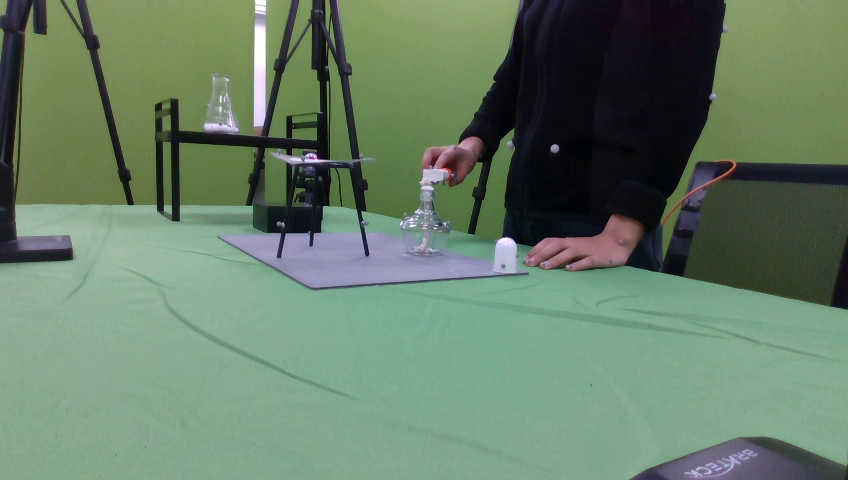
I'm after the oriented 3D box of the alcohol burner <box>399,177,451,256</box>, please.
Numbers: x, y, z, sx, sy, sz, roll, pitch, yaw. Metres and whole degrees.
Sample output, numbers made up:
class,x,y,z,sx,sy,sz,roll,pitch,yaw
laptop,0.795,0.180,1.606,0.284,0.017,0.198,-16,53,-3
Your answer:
class,x,y,z,sx,sy,sz,roll,pitch,yaw
alcohol burner,0.003,-0.035,0.908,0.078,0.119,0.078,4,8,0

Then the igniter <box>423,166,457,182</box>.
class,x,y,z,sx,sy,sz,roll,pitch,yaw
igniter,0.026,-0.115,1.053,0.057,0.025,0.276,2,8,5

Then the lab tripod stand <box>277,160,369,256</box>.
class,x,y,z,sx,sy,sz,roll,pitch,yaw
lab tripod stand,-0.150,-0.046,0.861,0.148,0.131,0.148,3,9,0

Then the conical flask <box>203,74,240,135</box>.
class,x,y,z,sx,sy,sz,roll,pitch,yaw
conical flask,-0.425,-0.284,1.271,0.075,0.122,0.075,3,7,0

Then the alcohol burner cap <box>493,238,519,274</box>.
class,x,y,z,sx,sy,sz,roll,pitch,yaw
alcohol burner cap,0.107,0.021,0.785,0.034,0.048,0.034,0,8,0

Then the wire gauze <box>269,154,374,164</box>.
class,x,y,z,sx,sy,sz,roll,pitch,yaw
wire gauze,-0.146,-0.114,0.860,0.122,0.011,0.124,-2,9,-28
